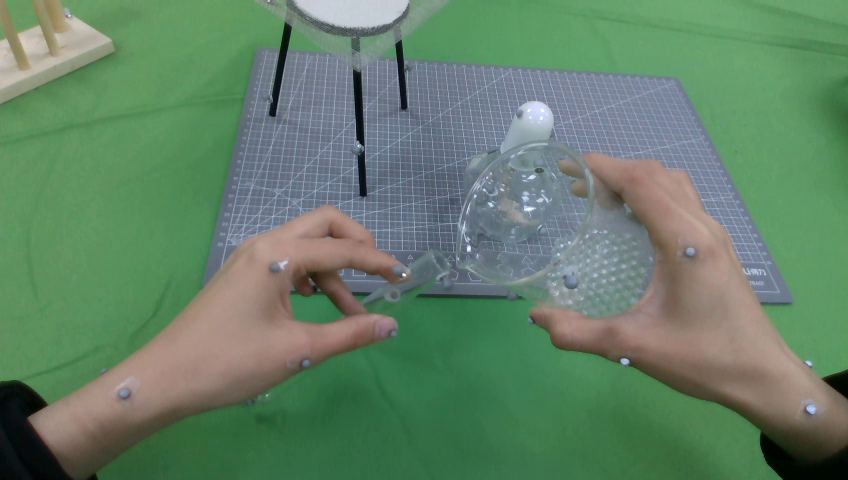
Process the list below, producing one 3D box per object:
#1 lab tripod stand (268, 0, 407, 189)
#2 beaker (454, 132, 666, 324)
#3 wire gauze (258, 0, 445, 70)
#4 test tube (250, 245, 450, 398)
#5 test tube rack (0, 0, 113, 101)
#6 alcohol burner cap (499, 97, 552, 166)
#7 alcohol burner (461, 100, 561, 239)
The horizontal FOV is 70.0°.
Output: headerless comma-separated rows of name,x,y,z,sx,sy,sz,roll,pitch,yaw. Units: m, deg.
lab tripod stand,-0.062,-0.136,0.488,0.149,0.132,0.147,5,51,-6
beaker,0.075,0.002,0.320,0.101,0.084,0.073,26,37,-43
wire gauze,-0.056,-0.179,0.436,0.124,0.011,0.121,34,54,17
test tube,-0.046,0.049,0.338,0.017,0.150,0.017,43,24,-24
test tube rack,-0.391,-0.157,0.491,0.066,0.086,0.242,33,53,18
alcohol burner cap,0.074,-0.078,0.427,0.034,0.048,0.033,4,54,-5
alcohol burner,0.069,-0.057,0.455,0.078,0.120,0.077,5,48,-6
